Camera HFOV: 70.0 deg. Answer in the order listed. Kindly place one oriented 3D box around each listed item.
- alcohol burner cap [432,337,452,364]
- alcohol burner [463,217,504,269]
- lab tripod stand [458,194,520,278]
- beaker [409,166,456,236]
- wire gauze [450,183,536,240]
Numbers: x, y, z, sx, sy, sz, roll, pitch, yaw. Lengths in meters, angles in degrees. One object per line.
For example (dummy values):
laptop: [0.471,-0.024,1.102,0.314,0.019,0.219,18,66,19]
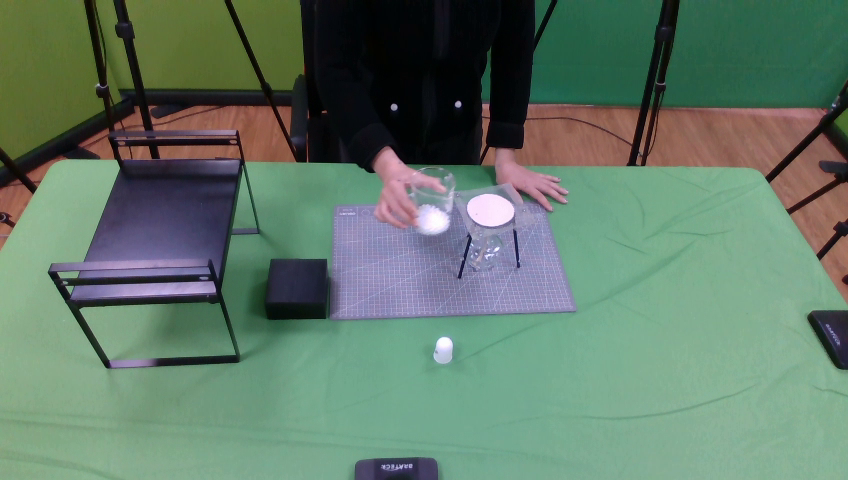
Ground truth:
alcohol burner cap: [0.031,0.182,1.011,0.034,0.048,0.033,4,45,-4]
alcohol burner: [0.114,-0.001,1.139,0.078,0.119,0.077,3,47,-3]
lab tripod stand: [0.116,-0.012,1.136,0.148,0.132,0.147,1,45,-1]
beaker: [0.016,-0.062,1.021,0.074,0.101,0.083,-27,53,-25]
wire gauze: [0.122,-0.057,1.087,0.121,0.011,0.124,-12,47,-14]
